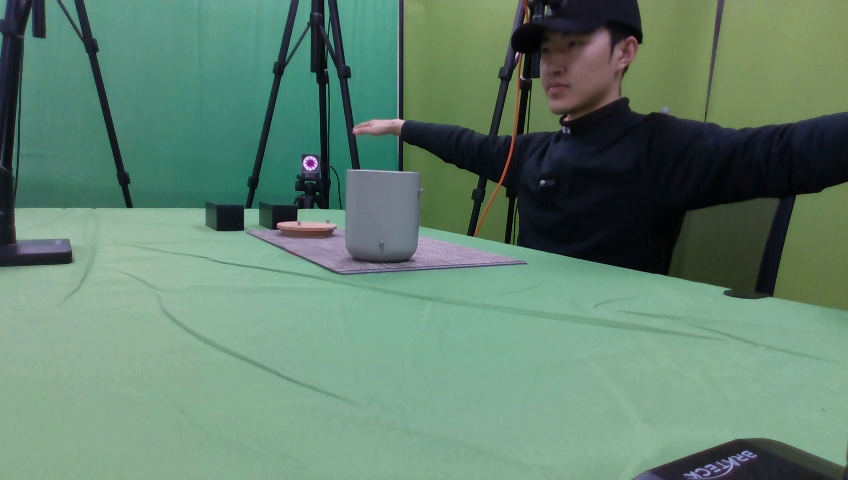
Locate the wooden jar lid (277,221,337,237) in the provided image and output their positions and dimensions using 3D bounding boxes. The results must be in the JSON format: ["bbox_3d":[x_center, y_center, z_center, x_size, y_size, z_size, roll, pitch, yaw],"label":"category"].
[{"bbox_3d":[-0.215,-0.021,1.112,0.108,0.020,0.108,3,7,0],"label":"wooden jar lid"}]

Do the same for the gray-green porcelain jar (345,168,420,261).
[{"bbox_3d":[-0.059,-0.037,0.858,0.106,0.126,0.106,2,7,0],"label":"gray-green porcelain jar"}]
